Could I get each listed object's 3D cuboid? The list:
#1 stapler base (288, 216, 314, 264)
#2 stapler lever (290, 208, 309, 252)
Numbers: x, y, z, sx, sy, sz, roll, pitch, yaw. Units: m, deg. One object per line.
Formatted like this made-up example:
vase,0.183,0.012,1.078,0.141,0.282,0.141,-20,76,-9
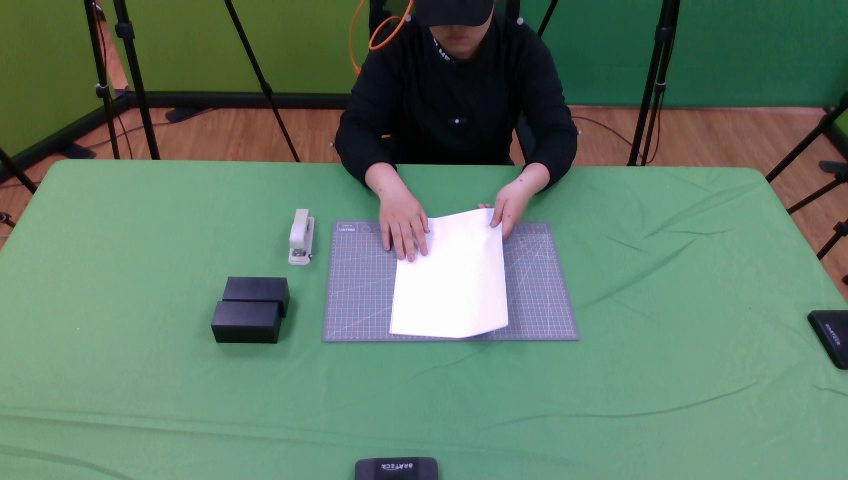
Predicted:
stapler base,-0.241,-0.007,1.185,0.041,0.024,0.129,1,44,-6
stapler lever,-0.240,-0.026,1.168,0.027,0.040,0.117,1,44,-6
